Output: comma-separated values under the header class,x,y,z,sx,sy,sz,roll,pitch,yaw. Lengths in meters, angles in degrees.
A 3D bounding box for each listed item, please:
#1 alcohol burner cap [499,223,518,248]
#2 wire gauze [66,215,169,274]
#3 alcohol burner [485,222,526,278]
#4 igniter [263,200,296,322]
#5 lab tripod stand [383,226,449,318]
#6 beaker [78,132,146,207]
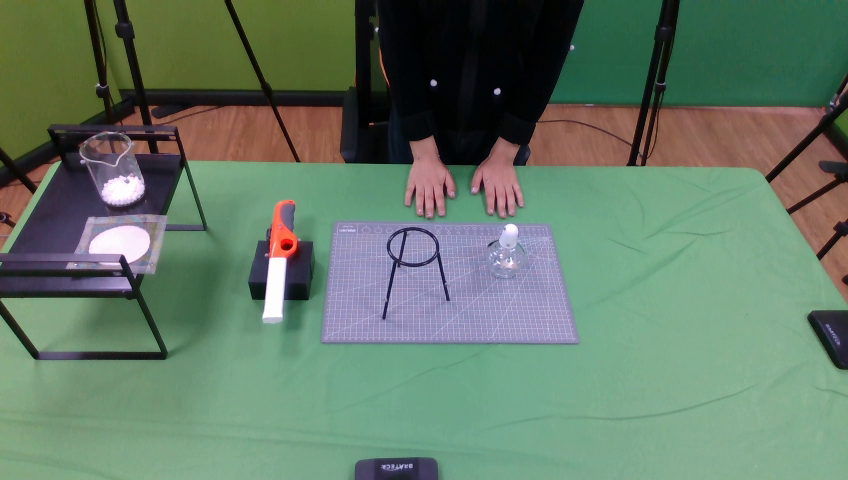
class,x,y,z,sx,sy,sz,roll,pitch,yaw
alcohol burner cap,0.156,-0.010,1.103,0.034,0.048,0.033,1,53,-2
wire gauze,-0.460,0.004,0.919,0.125,0.011,0.120,0,44,-7
alcohol burner,0.154,0.014,1.129,0.078,0.119,0.077,2,44,-2
igniter,-0.260,0.027,1.083,0.057,0.025,0.274,0,48,-8
lab tripod stand,-0.023,0.055,1.062,0.148,0.132,0.147,2,48,-3
beaker,-0.488,-0.108,0.961,0.074,0.101,0.083,-25,54,-25
